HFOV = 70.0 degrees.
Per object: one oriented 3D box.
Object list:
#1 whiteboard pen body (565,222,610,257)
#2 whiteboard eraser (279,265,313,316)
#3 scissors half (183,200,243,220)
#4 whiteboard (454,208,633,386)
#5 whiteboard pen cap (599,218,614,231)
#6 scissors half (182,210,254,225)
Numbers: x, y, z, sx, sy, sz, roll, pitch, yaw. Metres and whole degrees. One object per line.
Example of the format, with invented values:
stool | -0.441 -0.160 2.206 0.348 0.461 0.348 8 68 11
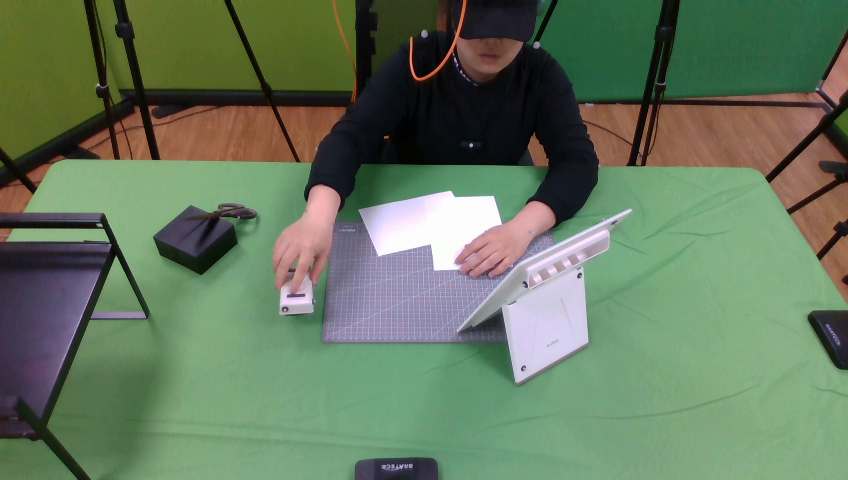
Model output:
whiteboard pen body | 0.335 -0.004 1.228 0.141 0.017 0.017 -33 56 -29
whiteboard eraser | -0.222 0.089 1.045 0.056 0.042 0.112 0 32 -12
scissors half | -0.405 -0.054 1.163 0.040 0.013 0.175 32 18 6
whiteboard | 0.211 0.111 0.954 0.217 0.306 0.143 -22 72 -24
whiteboard pen cap | 0.379 -0.031 1.255 0.033 0.018 0.018 -33 56 -29
scissors half | -0.390 -0.042 1.158 0.040 0.013 0.175 43 21 21
